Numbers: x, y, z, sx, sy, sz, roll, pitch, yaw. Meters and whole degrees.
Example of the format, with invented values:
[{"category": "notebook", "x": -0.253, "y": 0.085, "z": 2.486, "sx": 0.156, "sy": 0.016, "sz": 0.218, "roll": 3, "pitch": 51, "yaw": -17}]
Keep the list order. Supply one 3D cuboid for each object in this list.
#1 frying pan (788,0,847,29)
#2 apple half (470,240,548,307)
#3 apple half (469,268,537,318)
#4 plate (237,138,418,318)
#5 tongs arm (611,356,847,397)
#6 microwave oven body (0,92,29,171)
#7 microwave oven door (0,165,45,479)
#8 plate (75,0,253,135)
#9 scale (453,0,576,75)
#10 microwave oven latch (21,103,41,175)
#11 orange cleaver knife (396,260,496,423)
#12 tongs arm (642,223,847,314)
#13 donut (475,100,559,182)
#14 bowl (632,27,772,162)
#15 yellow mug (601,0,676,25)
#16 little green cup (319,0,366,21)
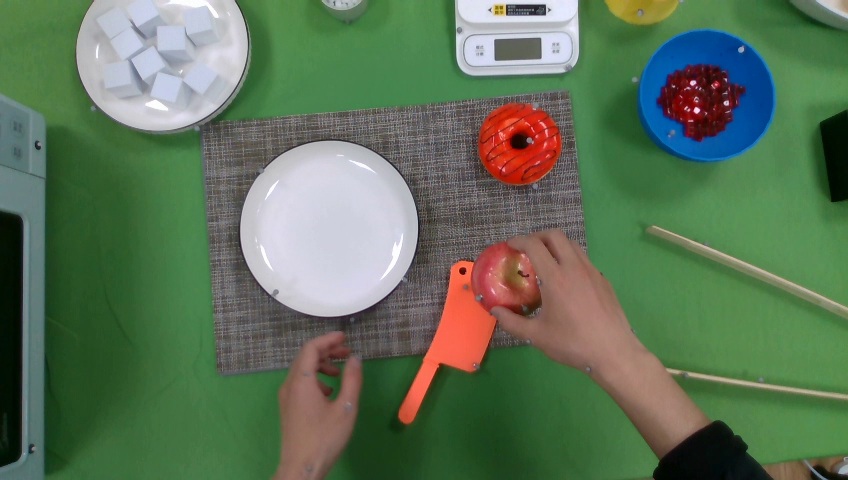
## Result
[{"category": "frying pan", "x": 0.584, "y": -0.298, "z": 0.698, "sx": 0.307, "sy": 0.103, "sz": 0.485, "roll": -32, "pitch": 77, "yaw": -1}, {"category": "apple half", "x": 0.093, "y": 0.029, "z": 0.628, "sx": 0.081, "sy": 0.075, "sz": 0.053, "roll": 30, "pitch": 77, "yaw": 3}, {"category": "apple half", "x": 0.074, "y": 0.061, "z": 0.619, "sx": 0.081, "sy": 0.081, "sz": 0.032, "roll": 29, "pitch": 77, "yaw": 3}, {"category": "plate", "x": -0.110, "y": -0.014, "z": 0.708, "sx": 0.209, "sy": 0.038, "sz": 0.208, "roll": 0, "pitch": 85, "yaw": 1}, {"category": "tongs arm", "x": 0.411, "y": 0.148, "z": 0.694, "sx": 0.385, "sy": 0.026, "sz": 0.050, "roll": 10, "pitch": 81, "yaw": 1}, {"category": "microwave oven body", "x": -0.606, "y": 0.057, "z": 0.594, "sx": 0.326, "sy": 0.260, "sz": 0.440, "roll": -3, "pitch": 85, "yaw": 0}, {"category": "microwave oven door", "x": -0.458, "y": 0.091, "z": 0.585, "sx": 0.039, "sy": 0.244, "sz": 0.355, "roll": -3, "pitch": 85, "yaw": 1}, {"category": "plate", "x": -0.308, "y": -0.226, "z": 0.732, "sx": 0.208, "sy": 0.039, "sz": 0.207, "roll": 0, "pitch": 85, "yaw": 0}, {"category": "scale", "x": 0.109, "y": -0.303, "z": 0.739, "sx": 0.149, "sy": 0.031, "sz": 0.200, "roll": -1, "pitch": 85, "yaw": 1}, {"category": "microwave oven latch", "x": -0.466, "y": -0.117, "z": 0.705, "sx": 0.030, "sy": 0.029, "sz": 0.079, "roll": -1, "pitch": 86, "yaw": 0}, {"category": "orange cleaver knife", "x": 0.033, "y": 0.119, "z": 0.703, "sx": 0.077, "sy": 0.012, "sz": 0.211, "roll": 24, "pitch": 82, "yaw": -5}, {"category": "tongs arm", "x": 0.434, "y": 0.065, "z": 0.703, "sx": 0.387, "sy": 0.028, "sz": 0.028, "roll": 25, "pitch": 79, "yaw": 3}, {"category": "donut", "x": 0.108, "y": -0.116, "z": 0.712, "sx": 0.099, "sy": 0.048, "sz": 0.099, "roll": 0, "pitch": 85, "yaw": 3}, {"category": "bowl", "x": 0.308, "y": -0.158, "z": 0.701, "sx": 0.151, "sy": 0.077, "sz": 0.151, "roll": 0, "pitch": 85, "yaw": 1}, {"category": "yellow mug", "x": 0.255, "y": -0.331, "z": 0.722, "sx": 0.100, "sy": 0.064, "sz": 0.130, "roll": -38, "pitch": 85, "yaw": -3}, {"category": "little green cup", "x": -0.099, "y": -0.299, "z": 0.737, "sx": 0.061, "sy": 0.039, "sz": 0.061, "roll": 0, "pitch": 84, "yaw": 1}]
